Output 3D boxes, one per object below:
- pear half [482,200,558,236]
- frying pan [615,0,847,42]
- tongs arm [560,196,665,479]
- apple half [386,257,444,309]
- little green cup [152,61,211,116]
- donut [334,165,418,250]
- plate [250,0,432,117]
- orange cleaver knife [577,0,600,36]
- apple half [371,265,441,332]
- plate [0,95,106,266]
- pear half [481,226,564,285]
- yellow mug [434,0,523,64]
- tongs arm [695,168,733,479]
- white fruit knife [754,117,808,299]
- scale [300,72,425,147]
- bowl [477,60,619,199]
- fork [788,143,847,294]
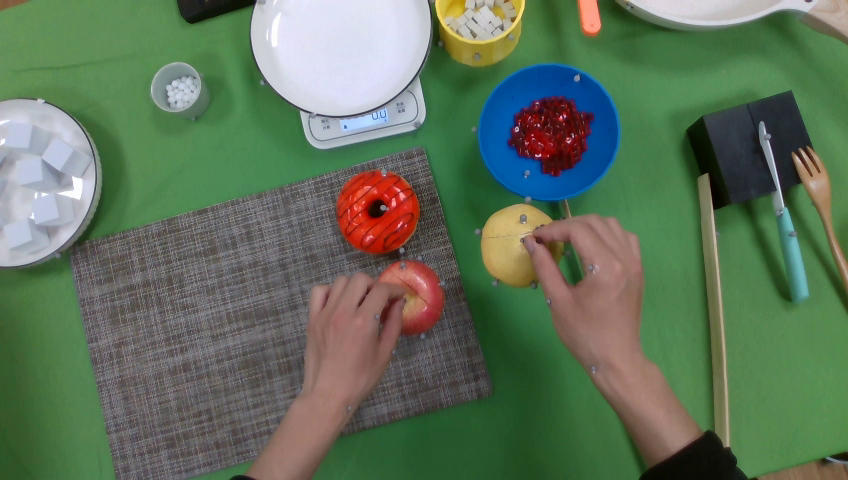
[{"bbox_3d":[0.087,-0.021,0.566,0.070,0.088,0.031,-15,87,-2],"label":"pear half"},{"bbox_3d":[0.380,-0.301,0.666,0.307,0.103,0.485,-43,75,0],"label":"frying pan"},{"bbox_3d":[0.231,0.128,0.670,0.051,0.026,0.383,-16,85,-2],"label":"tongs arm"},{"bbox_3d":[-0.002,0.041,0.669,0.081,0.081,0.033,40,90,7],"label":"apple half"},{"bbox_3d":[-0.291,-0.180,0.733,0.061,0.039,0.061,0,84,4],"label":"little green cup"},{"bbox_3d":[-0.055,-0.037,0.696,0.099,0.048,0.099,-1,85,6],"label":"donut"},{"bbox_3d":[-0.092,-0.239,0.695,0.209,0.038,0.208,0,84,3],"label":"plate"},{"bbox_3d":[0.182,-0.330,0.665,0.077,0.012,0.210,-11,84,6],"label":"orange cleaver knife"},{"bbox_3d":[-0.026,0.072,0.668,0.080,0.075,0.053,41,90,4],"label":"apple half"},{"bbox_3d":[-0.483,-0.071,0.735,0.207,0.039,0.207,0,84,4],"label":"plate"},{"bbox_3d":[0.094,0.013,0.555,0.076,0.110,0.056,-14,87,-1],"label":"pear half"},{"bbox_3d":[0.052,-0.275,0.705,0.130,0.064,0.100,42,89,8],"label":"yellow mug"},{"bbox_3d":[0.316,0.112,0.670,0.028,0.028,0.386,-1,85,-4],"label":"tongs arm"},{"bbox_3d":[0.382,-0.031,0.653,0.016,0.027,0.208,-18,98,2],"label":"white fruit knife"},{"bbox_3d":[-0.087,-0.221,0.726,0.148,0.031,0.200,-12,84,3],"label":"scale"},{"bbox_3d":[0.133,-0.114,0.678,0.151,0.077,0.151,0,85,4],"label":"bowl"},{"bbox_3d":[0.441,-0.007,0.654,0.028,0.018,0.208,-25,99,0],"label":"fork"}]
